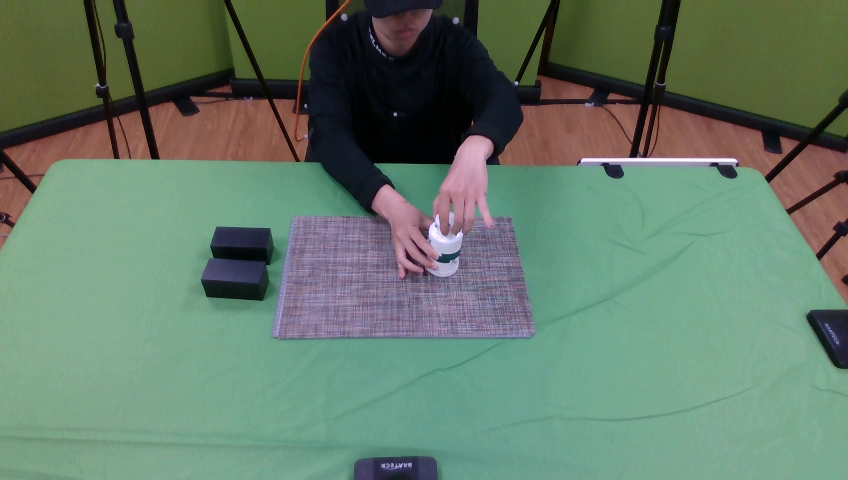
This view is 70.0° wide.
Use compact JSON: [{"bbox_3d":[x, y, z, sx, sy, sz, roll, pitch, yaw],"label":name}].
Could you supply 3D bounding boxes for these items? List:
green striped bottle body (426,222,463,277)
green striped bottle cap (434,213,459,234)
[{"bbox_3d":[0.037,0.008,1.121,0.063,0.120,0.063,2,46,-2],"label":"green striped bottle body"},{"bbox_3d":[0.040,-0.030,1.080,0.044,0.020,0.044,3,35,-2],"label":"green striped bottle cap"}]
